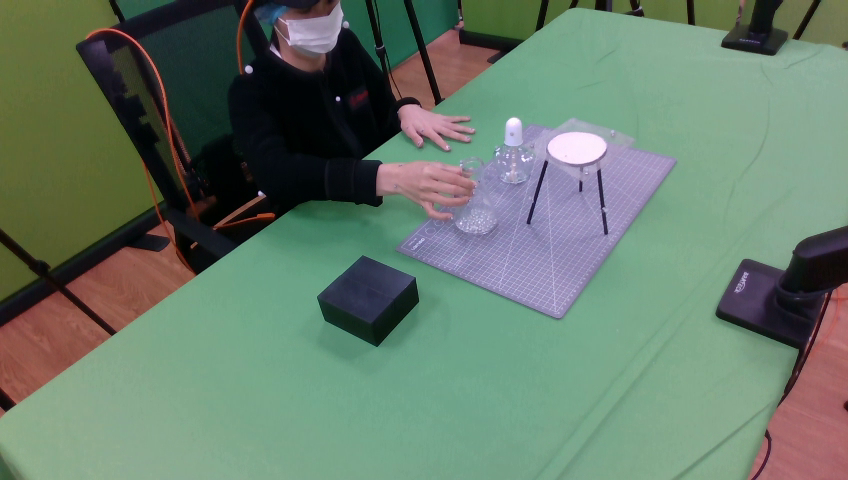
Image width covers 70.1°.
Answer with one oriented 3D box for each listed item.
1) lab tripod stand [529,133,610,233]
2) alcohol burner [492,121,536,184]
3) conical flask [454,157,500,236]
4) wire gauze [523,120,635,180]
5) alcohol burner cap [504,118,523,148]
[{"bbox_3d":[0.236,-0.089,0.953,0.148,0.132,0.147,-5,42,5],"label":"lab tripod stand"},{"bbox_3d":[0.159,-0.158,1.064,0.078,0.119,0.077,-3,41,3],"label":"alcohol burner"},{"bbox_3d":[0.081,-0.072,0.966,0.075,0.122,0.075,-5,40,5],"label":"conical flask"},{"bbox_3d":[0.233,-0.143,0.913,0.122,0.011,0.124,-32,45,-25],"label":"wire gauze"},{"bbox_3d":[0.154,-0.186,1.042,0.034,0.048,0.033,-4,33,3],"label":"alcohol burner cap"}]
